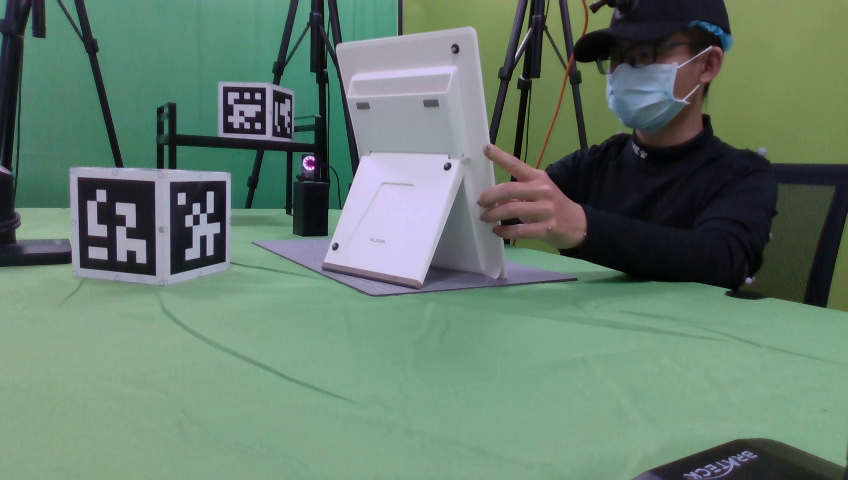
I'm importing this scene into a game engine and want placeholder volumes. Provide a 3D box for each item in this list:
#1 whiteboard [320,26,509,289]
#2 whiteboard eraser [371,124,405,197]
[{"bbox_3d":[-0.046,-0.076,0.720,0.216,0.305,0.144,9,29,39],"label":"whiteboard"},{"bbox_3d":[-0.048,-0.107,0.820,0.041,0.101,0.019,18,38,35],"label":"whiteboard eraser"}]
